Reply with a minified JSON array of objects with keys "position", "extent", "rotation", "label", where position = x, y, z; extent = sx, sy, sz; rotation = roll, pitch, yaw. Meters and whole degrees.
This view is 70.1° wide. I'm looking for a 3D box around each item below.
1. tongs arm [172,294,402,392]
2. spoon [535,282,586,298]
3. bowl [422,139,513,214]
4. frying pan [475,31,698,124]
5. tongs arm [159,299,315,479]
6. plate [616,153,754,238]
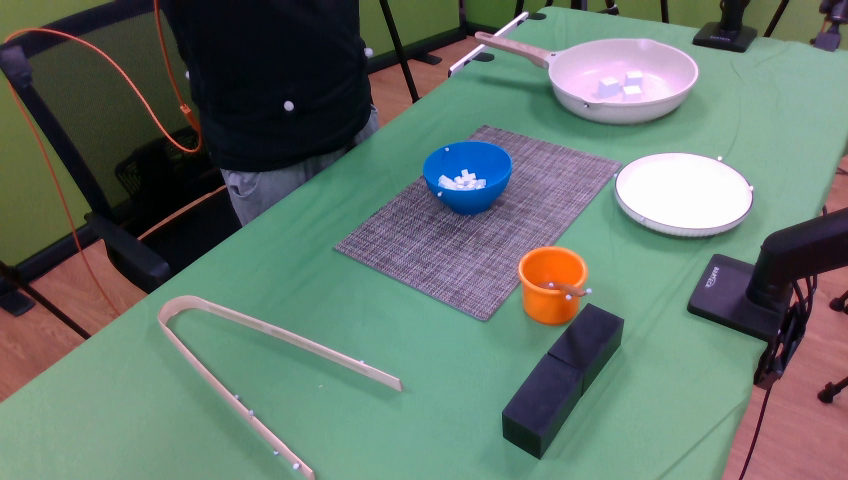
[{"position":[-0.198,0.136,0.833],"extent":[0.385,0.028,0.028],"rotation":[16,48,24],"label":"tongs arm"},{"position":[0.176,0.063,0.774],"extent":[0.041,0.194,0.021],"rotation":[-3,85,1],"label":"spoon"},{"position":[0.075,-0.097,1.021],"extent":[0.151,0.077,0.150],"rotation":[-4,41,4],"label":"bowl"},{"position":[0.320,-0.371,1.290],"extent":[0.485,0.103,0.307],"rotation":[28,50,23],"label":"frying pan"},{"position":[-0.248,0.179,0.784],"extent":[0.381,0.026,0.051],"rotation":[26,50,34],"label":"tongs arm"},{"position":[0.416,-0.069,0.977],"extent":[0.207,0.039,0.206],"rotation":[-4,40,4],"label":"plate"}]
